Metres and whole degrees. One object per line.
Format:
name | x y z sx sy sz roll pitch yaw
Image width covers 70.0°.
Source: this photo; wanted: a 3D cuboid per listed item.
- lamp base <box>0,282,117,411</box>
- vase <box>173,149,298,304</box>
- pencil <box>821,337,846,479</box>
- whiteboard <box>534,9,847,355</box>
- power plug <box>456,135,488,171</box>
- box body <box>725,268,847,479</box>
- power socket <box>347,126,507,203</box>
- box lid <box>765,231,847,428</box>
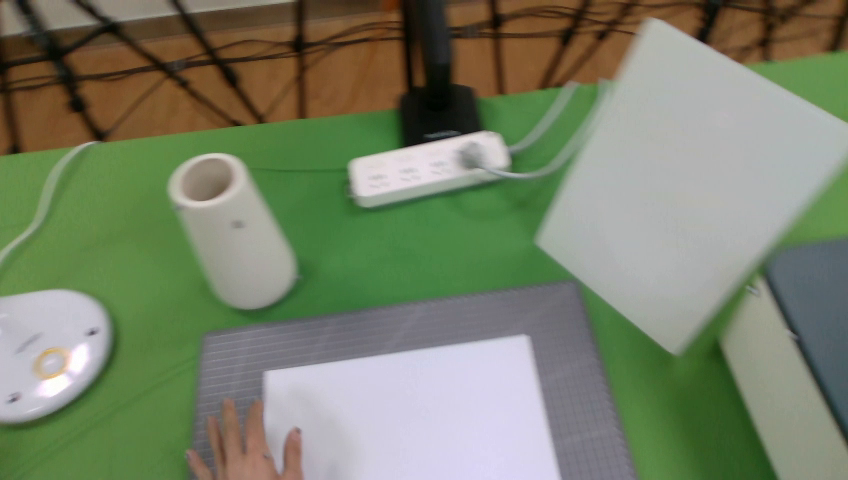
lamp base | -0.452 0.072 0.639 0.178 0.182 0.160 20 59 18
vase | -0.207 -0.010 0.671 0.098 0.202 0.097 -2 56 3
pencil | 0.421 0.190 0.620 0.012 0.012 0.192 9 61 9
whiteboard | 0.292 -0.067 0.660 0.144 0.307 0.215 -25 57 -36
power plug | 0.062 -0.105 0.793 0.035 0.053 0.072 -4 58 0
box body | 0.470 0.179 0.540 0.254 0.162 0.360 -9 57 -3
power socket | 0.006 -0.104 0.823 0.227 0.033 0.071 -12 58 -6
box lid | 0.466 0.135 0.478 0.263 0.015 0.367 -9 57 -3
